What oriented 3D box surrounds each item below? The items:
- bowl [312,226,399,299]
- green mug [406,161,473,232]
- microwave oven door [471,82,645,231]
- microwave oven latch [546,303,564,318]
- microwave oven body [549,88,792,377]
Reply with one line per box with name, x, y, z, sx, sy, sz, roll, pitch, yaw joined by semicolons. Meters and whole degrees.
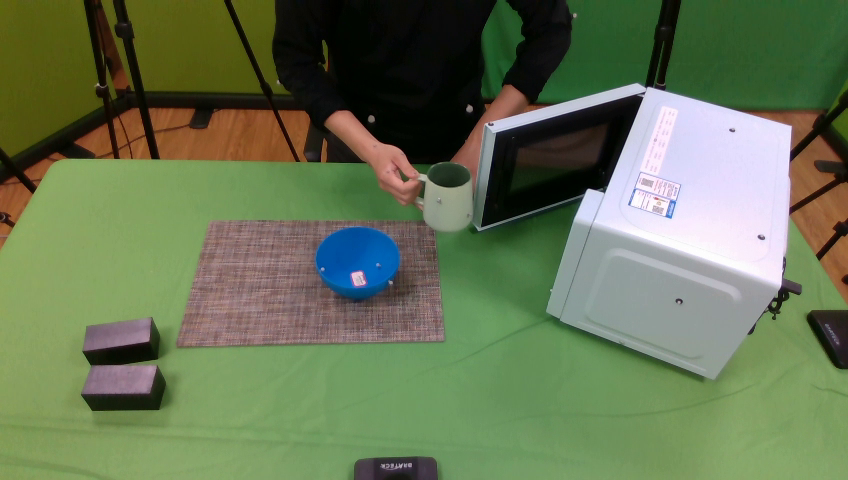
bowl;-0.120;0.054;1.091;0.151;0.077;0.150;2;46;-2
green mug;0.027;-0.079;1.083;0.125;0.105;0.092;14;45;15
microwave oven door;0.264;-0.165;1.198;0.356;0.245;0.039;-19;49;-20
microwave oven latch;0.242;0.102;1.081;0.030;0.029;0.079;21;48;17
microwave oven body;0.456;-0.028;1.088;0.325;0.261;0.440;20;47;16
